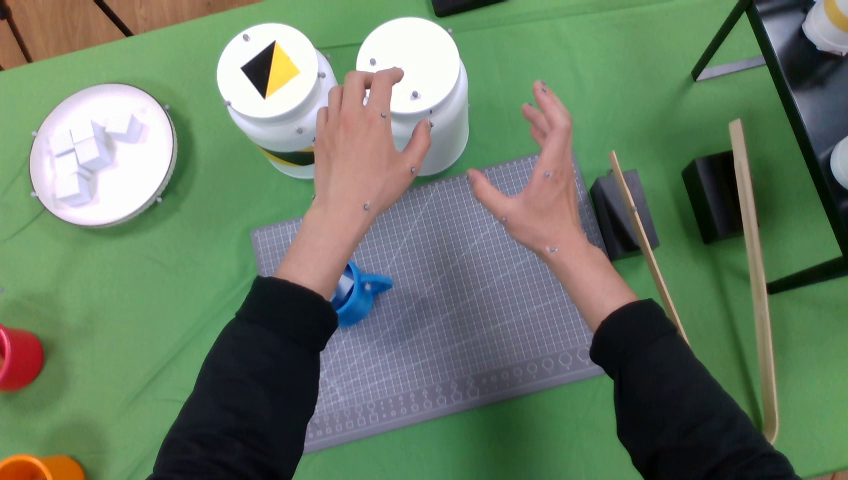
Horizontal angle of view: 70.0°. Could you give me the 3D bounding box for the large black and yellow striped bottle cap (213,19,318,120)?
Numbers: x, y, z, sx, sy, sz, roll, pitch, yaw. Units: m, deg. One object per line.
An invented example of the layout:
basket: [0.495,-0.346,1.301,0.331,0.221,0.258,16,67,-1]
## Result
large black and yellow striped bottle cap: [-0.176,-0.191,0.674,0.115,0.019,0.114,0,79,2]

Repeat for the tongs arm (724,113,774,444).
tongs arm: [0.380,0.044,0.716,0.028,0.028,0.387,-5,89,-6]

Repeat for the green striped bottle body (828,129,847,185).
green striped bottle body: [0.430,-0.093,0.547,0.063,0.120,0.063,-1,78,4]

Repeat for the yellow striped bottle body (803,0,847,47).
yellow striped bottle body: [0.425,-0.242,0.577,0.063,0.121,0.062,-1,78,4]

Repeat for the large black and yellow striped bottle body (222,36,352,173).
large black and yellow striped bottle body: [-0.169,-0.171,0.755,0.131,0.185,0.130,-1,78,4]

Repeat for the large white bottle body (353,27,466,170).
large white bottle body: [-0.014,-0.175,0.745,0.130,0.185,0.130,-1,78,4]

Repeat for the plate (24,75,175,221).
plate: [-0.443,-0.125,0.839,0.207,0.039,0.206,-1,78,4]

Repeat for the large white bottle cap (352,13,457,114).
large white bottle cap: [-0.021,-0.194,0.663,0.115,0.018,0.114,-1,78,3]

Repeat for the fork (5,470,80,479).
fork: [-0.516,0.284,0.701,0.209,0.018,0.028,13,74,-38]

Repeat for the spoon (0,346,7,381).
spoon: [-0.533,0.105,0.743,0.041,0.021,0.195,31,125,13]

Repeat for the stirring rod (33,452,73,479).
stirring rod: [-0.484,0.315,0.699,0.014,0.006,0.175,32,39,7]

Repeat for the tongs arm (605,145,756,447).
tongs arm: [0.301,0.064,0.715,0.051,0.026,0.384,-19,89,-3]

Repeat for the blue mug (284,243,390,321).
blue mug: [-0.099,0.052,0.742,0.116,0.106,0.082,-8,77,2]
